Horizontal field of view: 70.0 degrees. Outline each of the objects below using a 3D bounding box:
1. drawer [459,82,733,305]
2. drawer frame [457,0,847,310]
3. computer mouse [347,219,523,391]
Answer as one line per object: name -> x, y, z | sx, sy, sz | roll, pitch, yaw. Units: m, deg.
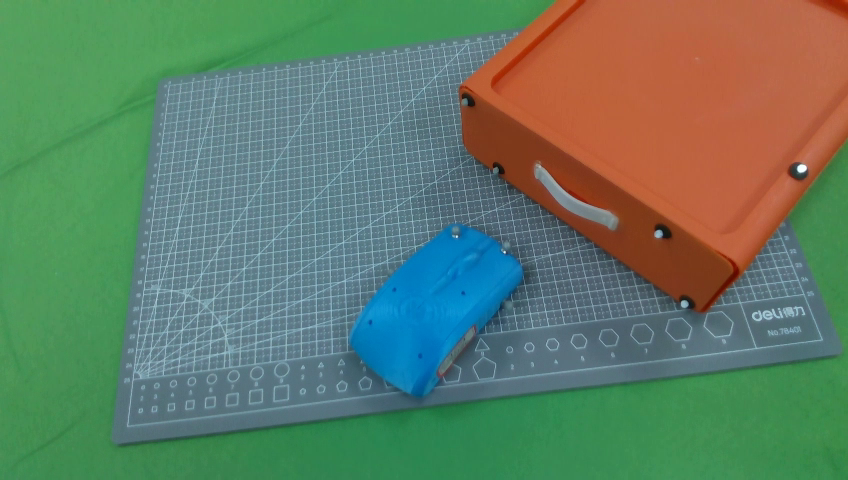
drawer -> 0.164, -0.096, 0.406 | 0.193, 0.074, 0.211 | 39, 72, 22
drawer frame -> 0.165, -0.098, 0.405 | 0.200, 0.083, 0.213 | 39, 72, 22
computer mouse -> 0.008, 0.035, 0.380 | 0.062, 0.041, 0.117 | 35, 67, 22
